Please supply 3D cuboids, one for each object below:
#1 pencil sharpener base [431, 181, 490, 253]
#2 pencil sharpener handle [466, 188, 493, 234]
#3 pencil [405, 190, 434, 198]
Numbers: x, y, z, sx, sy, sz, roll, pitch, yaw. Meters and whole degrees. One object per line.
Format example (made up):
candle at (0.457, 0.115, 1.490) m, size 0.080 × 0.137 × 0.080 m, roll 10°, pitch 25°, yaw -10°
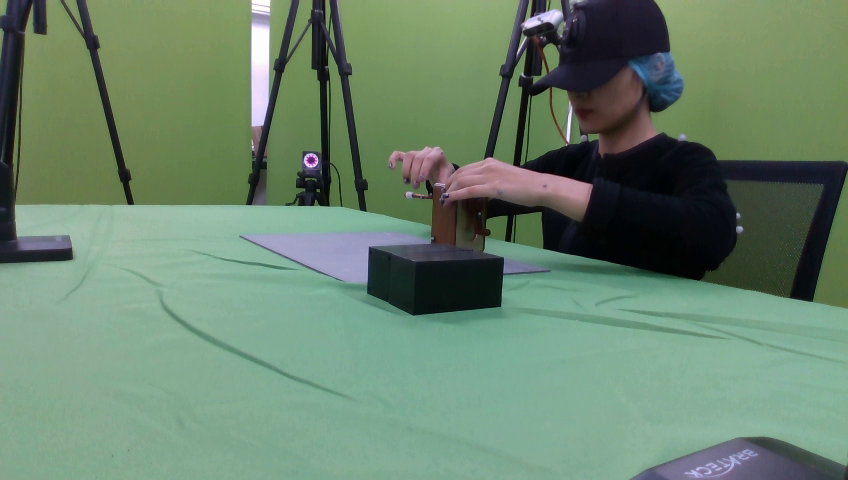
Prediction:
pencil sharpener base at (0.057, -0.037, 0.943) m, size 0.062 × 0.107 × 0.076 m, roll -1°, pitch 9°, yaw -31°
pencil sharpener handle at (0.087, -0.042, 0.900) m, size 0.036 × 0.068 × 0.030 m, roll -15°, pitch 15°, yaw -29°
pencil at (0.018, -0.073, 1.008) m, size 0.012 × 0.012 × 0.193 m, roll -2°, pitch 8°, yaw -31°
